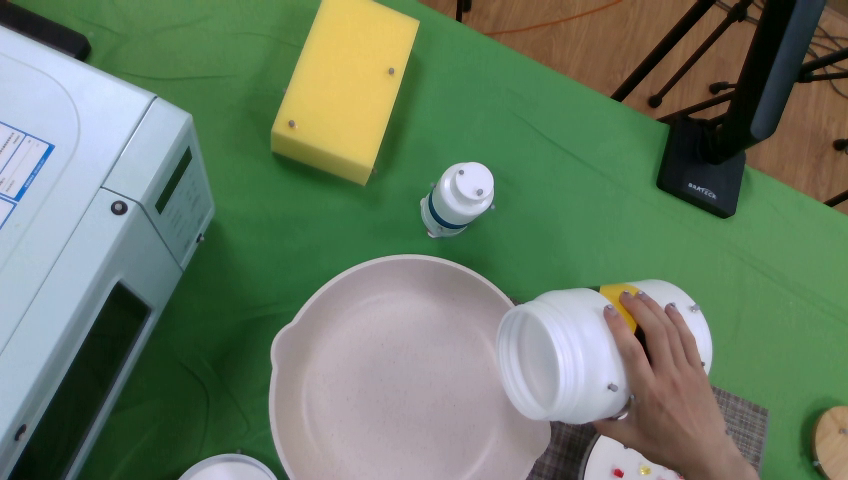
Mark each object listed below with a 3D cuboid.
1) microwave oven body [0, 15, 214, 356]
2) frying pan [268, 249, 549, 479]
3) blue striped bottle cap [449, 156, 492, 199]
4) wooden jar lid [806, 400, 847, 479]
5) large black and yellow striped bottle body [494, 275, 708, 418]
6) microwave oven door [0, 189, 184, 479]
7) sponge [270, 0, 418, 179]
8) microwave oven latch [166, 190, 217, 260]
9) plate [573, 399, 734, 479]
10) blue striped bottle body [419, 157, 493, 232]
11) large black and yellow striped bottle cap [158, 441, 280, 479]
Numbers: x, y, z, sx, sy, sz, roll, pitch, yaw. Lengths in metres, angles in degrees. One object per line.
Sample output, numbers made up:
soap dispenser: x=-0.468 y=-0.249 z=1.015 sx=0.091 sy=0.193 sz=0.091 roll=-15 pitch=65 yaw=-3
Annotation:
microwave oven body: x=-0.419 y=0.053 z=0.469 sx=0.327 sy=0.260 sz=0.439 roll=24 pitch=72 yaw=-9
frying pan: x=-0.047 y=0.245 z=0.606 sx=0.307 sy=0.103 sz=0.485 roll=23 pitch=64 yaw=-6
blue striped bottle cap: x=0.050 y=-0.067 z=0.647 sx=0.045 sy=0.020 sz=0.044 roll=3 pitch=78 yaw=-14
wooden jar lid: x=0.558 y=0.270 z=0.811 sx=0.109 sy=0.021 sz=0.108 roll=3 pitch=77 yaw=-13
large black and yellow striped bottle body: x=0.176 y=0.107 z=0.617 sx=0.185 sy=0.130 sz=0.130 roll=-4 pitch=77 yaw=-25
microwave oven door: x=-0.301 y=0.148 z=0.472 sx=0.039 sy=0.244 sz=0.354 roll=24 pitch=72 yaw=-8
sponge: x=-0.094 y=-0.192 z=0.724 sx=0.118 sy=0.061 sz=0.206 roll=19 pitch=74 yaw=-10
microwave oven latch: x=-0.247 y=-0.021 z=0.635 sx=0.030 sy=0.029 sz=0.079 roll=27 pitch=72 yaw=-8
plate: x=0.267 y=0.293 z=0.714 sx=0.210 sy=0.038 sz=0.208 roll=4 pitch=76 yaw=-14
blue striped bottle body: x=0.038 y=-0.053 z=0.695 sx=0.063 sy=0.121 sz=0.063 roll=4 pitch=76 yaw=-14
large black and yellow striped bottle cap: x=-0.193 y=0.242 z=0.572 sx=0.115 sy=0.019 sz=0.114 roll=15 pitch=31 yaw=-9
